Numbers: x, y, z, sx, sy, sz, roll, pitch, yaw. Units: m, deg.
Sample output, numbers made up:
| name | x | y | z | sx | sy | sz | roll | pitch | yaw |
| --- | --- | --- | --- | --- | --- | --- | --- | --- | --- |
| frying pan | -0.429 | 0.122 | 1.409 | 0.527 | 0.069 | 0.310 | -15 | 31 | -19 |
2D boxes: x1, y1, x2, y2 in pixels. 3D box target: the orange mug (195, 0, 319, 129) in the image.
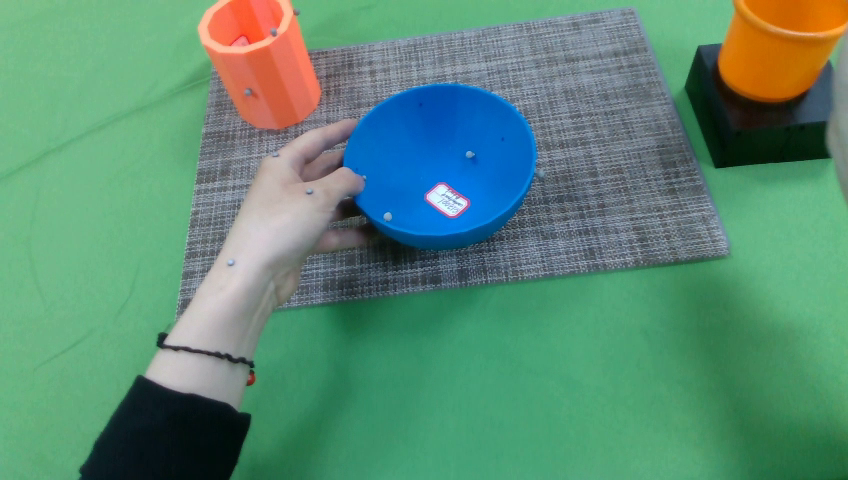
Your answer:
| name | x | y | z | sx | sy | sz | roll | pitch | yaw |
| --- | --- | --- | --- | --- | --- | --- | --- | --- | --- |
| orange mug | -0.153 | -0.186 | 0.584 | 0.083 | 0.101 | 0.125 | 3 | 65 | 9 |

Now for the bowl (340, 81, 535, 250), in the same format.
| name | x | y | z | sx | sy | sz | roll | pitch | yaw |
| --- | --- | --- | --- | --- | --- | --- | --- | --- | --- |
| bowl | 0.013 | -0.047 | 0.494 | 0.151 | 0.077 | 0.150 | -3 | 59 | 5 |
